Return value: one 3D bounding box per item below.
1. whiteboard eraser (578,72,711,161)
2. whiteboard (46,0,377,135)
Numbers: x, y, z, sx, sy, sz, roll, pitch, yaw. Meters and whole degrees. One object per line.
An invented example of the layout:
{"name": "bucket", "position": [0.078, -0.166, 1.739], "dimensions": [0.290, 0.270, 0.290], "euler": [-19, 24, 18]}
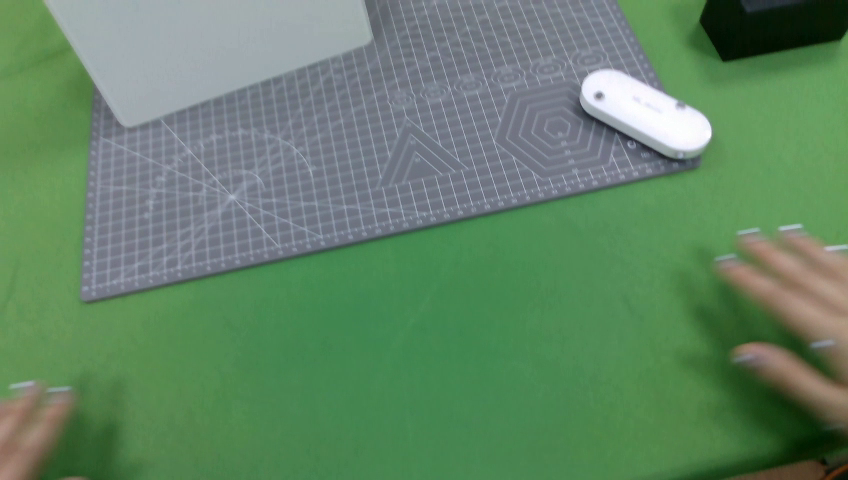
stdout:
{"name": "whiteboard eraser", "position": [0.163, -0.093, 0.452], "dimensions": [0.100, 0.019, 0.041], "euler": [35, 69, 22]}
{"name": "whiteboard", "position": [-0.189, -0.274, 0.447], "dimensions": [0.217, 0.308, 0.142], "euler": [-21, 42, -7]}
